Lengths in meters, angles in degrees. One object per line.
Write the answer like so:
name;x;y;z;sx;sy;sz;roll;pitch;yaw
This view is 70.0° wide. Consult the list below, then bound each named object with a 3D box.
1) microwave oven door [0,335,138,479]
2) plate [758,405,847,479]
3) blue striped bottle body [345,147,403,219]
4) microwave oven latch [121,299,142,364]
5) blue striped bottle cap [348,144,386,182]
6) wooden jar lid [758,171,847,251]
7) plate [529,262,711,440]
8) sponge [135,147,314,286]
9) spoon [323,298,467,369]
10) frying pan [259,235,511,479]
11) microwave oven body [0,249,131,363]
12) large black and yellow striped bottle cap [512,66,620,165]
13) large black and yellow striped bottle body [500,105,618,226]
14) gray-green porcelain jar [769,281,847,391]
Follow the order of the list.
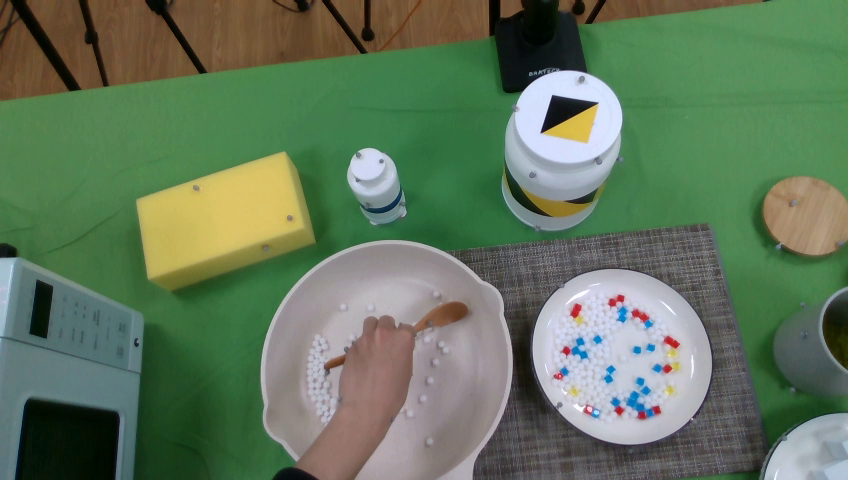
microwave oven door;-0.370;0.288;0.596;0.039;0.245;0.353;-6;70;3
plate;0.467;0.285;0.656;0.207;0.039;0.206;-1;71;5
blue striped bottle body;-0.064;-0.077;0.777;0.063;0.121;0.062;-1;71;5
microwave oven latch;-0.375;0.116;0.762;0.030;0.030;0.078;-5;72;3
blue striped bottle cap;-0.069;-0.093;0.729;0.044;0.021;0.044;-2;68;6
wooden jar lid;0.482;-0.035;0.772;0.108;0.021;0.107;-1;73;5
plate;0.229;0.130;0.724;0.209;0.038;0.207;-2;71;5
sponge;-0.265;-0.031;0.810;0.207;0.061;0.117;-19;71;-3
spoon;-0.030;0.110;0.711;0.194;0.042;0.021;-22;52;-31
frying pan;0.003;0.219;0.678;0.307;0.103;0.483;-29;63;-4
microwave oven body;-0.517;0.265;0.621;0.326;0.262;0.438;-6;71;2
large black and yellow striped bottle cap;0.153;-0.136;0.657;0.115;0.019;0.114;-1;73;4
large black and yellow striped bottle body;0.160;-0.107;0.736;0.131;0.185;0.130;-1;70;4
gray-green porcelain jar;0.456;0.110;0.668;0.106;0.127;0.105;-1;71;4
